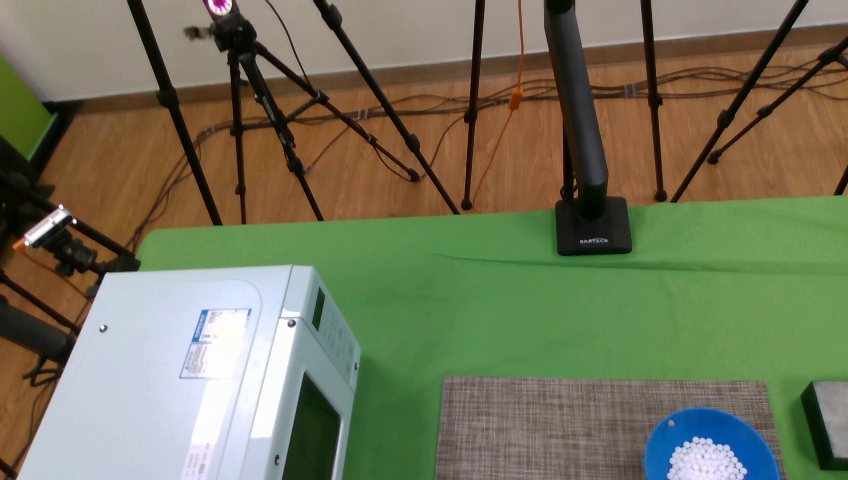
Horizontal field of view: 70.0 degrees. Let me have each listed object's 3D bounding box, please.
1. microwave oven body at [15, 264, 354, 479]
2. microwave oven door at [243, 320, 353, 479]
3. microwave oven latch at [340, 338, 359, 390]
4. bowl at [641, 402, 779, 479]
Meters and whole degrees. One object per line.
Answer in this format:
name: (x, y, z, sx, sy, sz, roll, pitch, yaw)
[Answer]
microwave oven body: (-0.294, 0.283, 0.776, 0.325, 0.263, 0.437, -3, 54, 10)
microwave oven door: (-0.154, 0.306, 0.722, 0.039, 0.246, 0.352, -4, 54, 11)
microwave oven latch: (-0.118, 0.189, 0.928, 0.030, 0.030, 0.078, -3, 55, 10)
bowl: (0.342, 0.286, 0.744, 0.151, 0.077, 0.150, -6, 53, 9)
